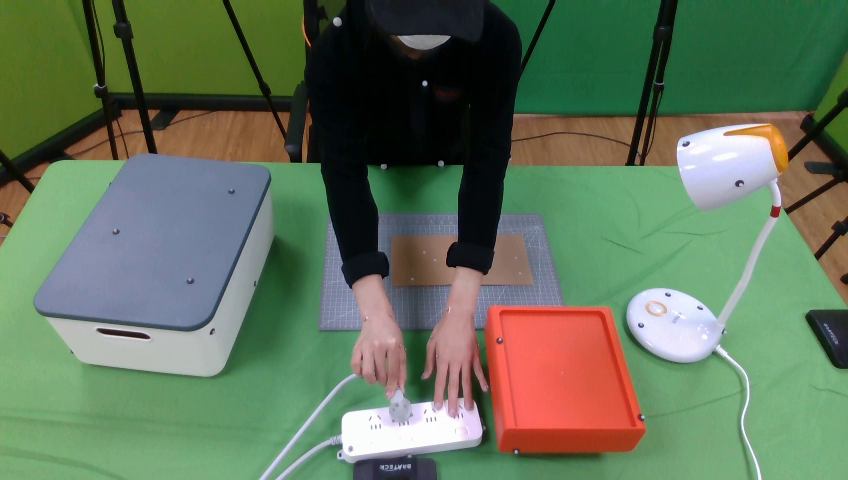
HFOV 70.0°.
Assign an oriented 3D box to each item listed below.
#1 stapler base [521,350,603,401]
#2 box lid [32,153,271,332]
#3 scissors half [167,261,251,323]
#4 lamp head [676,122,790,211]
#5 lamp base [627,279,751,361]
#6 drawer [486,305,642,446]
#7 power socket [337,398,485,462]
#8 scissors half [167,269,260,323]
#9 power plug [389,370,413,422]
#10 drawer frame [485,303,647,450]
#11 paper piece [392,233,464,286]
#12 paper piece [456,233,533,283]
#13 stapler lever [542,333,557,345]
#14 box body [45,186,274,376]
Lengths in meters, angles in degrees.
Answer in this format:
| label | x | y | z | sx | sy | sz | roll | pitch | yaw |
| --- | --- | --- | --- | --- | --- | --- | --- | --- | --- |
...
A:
| label | x | y | z | sx | sy | sz | roll | pitch | yaw |
| --- | --- | --- | --- | --- | --- | --- | --- | --- | --- |
| stapler base | 0.217 | 0.203 | 0.942 | 0.130 | 0.024 | 0.041 | 26 | 33 | 16 |
| box lid | -0.417 | -0.015 | 0.980 | 0.263 | 0.015 | 0.369 | 6 | 46 | 1 |
| scissors half | -0.383 | 0.091 | 1.080 | 0.040 | 0.013 | 0.175 | 24 | 51 | 31 |
| lamp head | 0.423 | -0.104 | 0.819 | 0.122 | 0.113 | 0.112 | -13 | 33 | 40 |
| lamp base | 0.460 | 0.100 | 1.027 | 0.178 | 0.181 | 0.160 | 27 | 51 | 17 |
| drawer | 0.202 | 0.201 | 0.919 | 0.195 | 0.073 | 0.210 | 1 | 47 | -4 |
| power socket | -0.018 | 0.285 | 0.915 | 0.227 | 0.033 | 0.071 | -4 | 46 | -8 |
| scissors half | -0.369 | 0.101 | 1.069 | 0.175 | 0.013 | 0.040 | -29 | 51 | -22 |
| power plug | -0.033 | 0.235 | 0.903 | 0.035 | 0.053 | 0.072 | -3 | 53 | 5 |
| drawer frame | 0.204 | 0.202 | 0.917 | 0.202 | 0.083 | 0.212 | 1 | 47 | -4 |
| paper piece | 0.006 | 0.036 | 1.168 | 0.135 | 0.004 | 0.135 | 3 | 45 | -5 |
| paper piece | 0.136 | 0.035 | 1.181 | 0.136 | 0.009 | 0.137 | 3 | 45 | -7 |
| stapler lever | 0.225 | 0.181 | 0.928 | 0.118 | 0.040 | 0.027 | 27 | 34 | 15 |
| box body | -0.421 | 0.037 | 1.031 | 0.254 | 0.161 | 0.362 | 6 | 46 | 1 |
